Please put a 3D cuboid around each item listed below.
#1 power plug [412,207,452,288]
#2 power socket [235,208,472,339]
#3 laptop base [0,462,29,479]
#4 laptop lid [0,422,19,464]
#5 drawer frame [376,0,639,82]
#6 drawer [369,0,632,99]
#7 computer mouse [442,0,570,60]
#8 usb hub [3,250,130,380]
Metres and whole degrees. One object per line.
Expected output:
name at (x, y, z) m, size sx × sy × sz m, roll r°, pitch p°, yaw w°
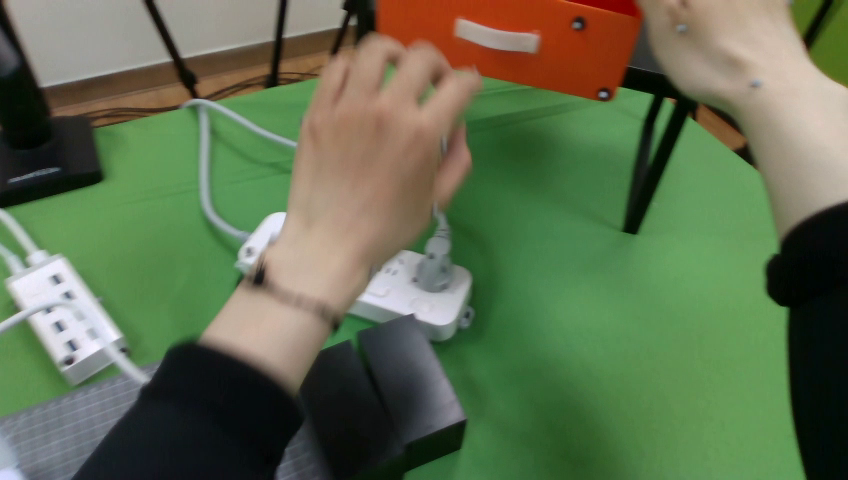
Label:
power plug at (0.017, 0.014, 0.544) m, size 0.035 × 0.053 × 0.072 m, roll 25°, pitch 53°, yaw 20°
power socket at (-0.065, 0.028, 0.556) m, size 0.226 × 0.033 × 0.072 m, roll 17°, pitch 48°, yaw 12°
laptop base at (-0.378, 0.293, 0.304) m, size 0.355 × 0.023 × 0.233 m, roll -22°, pitch 56°, yaw -21°
laptop lid at (-0.446, 0.120, 0.299) m, size 0.357 × 0.244 × 0.013 m, roll -23°, pitch 40°, yaw -20°
drawer frame at (0.086, -0.244, 0.536) m, size 0.201 × 0.083 × 0.212 m, roll 14°, pitch 48°, yaw 9°
drawer at (0.080, -0.223, 0.519) m, size 0.194 × 0.074 × 0.210 m, roll 14°, pitch 48°, yaw 10°
computer mouse at (0.069, -0.196, 0.511) m, size 0.063 × 0.041 × 0.116 m, roll -24°, pitch 59°, yaw -27°
usb hub at (-0.306, 0.060, 0.515) m, size 0.049 × 0.025 × 0.124 m, roll -35°, pitch 59°, yaw -29°
